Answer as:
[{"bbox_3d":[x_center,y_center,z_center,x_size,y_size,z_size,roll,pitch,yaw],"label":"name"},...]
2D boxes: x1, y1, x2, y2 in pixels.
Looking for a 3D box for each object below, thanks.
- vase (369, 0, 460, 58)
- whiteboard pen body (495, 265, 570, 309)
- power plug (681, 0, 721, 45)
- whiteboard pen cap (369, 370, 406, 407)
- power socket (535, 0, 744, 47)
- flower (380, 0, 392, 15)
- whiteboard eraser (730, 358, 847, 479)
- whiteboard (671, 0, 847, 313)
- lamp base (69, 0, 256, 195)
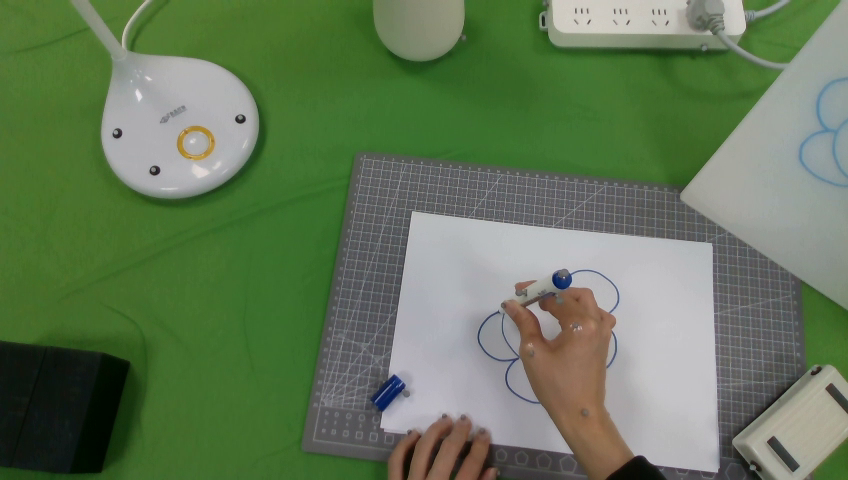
[{"bbox_3d":[-0.012,-0.269,0.588,0.098,0.201,0.097,0,71,2],"label":"vase"},{"bbox_3d":[0.086,0.044,0.513,0.017,0.141,0.017,4,73,-13],"label":"whiteboard pen body"},{"bbox_3d":[0.288,-0.230,0.638,0.035,0.053,0.072,11,78,4],"label":"power plug"},{"bbox_3d":[-0.032,0.134,0.548,0.018,0.018,0.033,41,74,13],"label":"whiteboard pen cap"},{"bbox_3d":[0.238,-0.252,0.669,0.227,0.033,0.072,1,72,0],"label":"power socket"},{"bbox_3d":[0.006,-0.285,0.507,0.044,0.361,0.038,-37,92,-20],"label":"flower"},{"bbox_3d":[0.323,0.156,0.526,0.112,0.042,0.055,-36,74,-11],"label":"whiteboard eraser"},{"bbox_3d":[0.406,-0.109,0.510,0.216,0.307,0.143,37,55,12],"label":"whiteboard"},{"bbox_3d":[-0.266,-0.153,0.561,0.178,0.181,0.160,39,75,15],"label":"lamp base"}]
